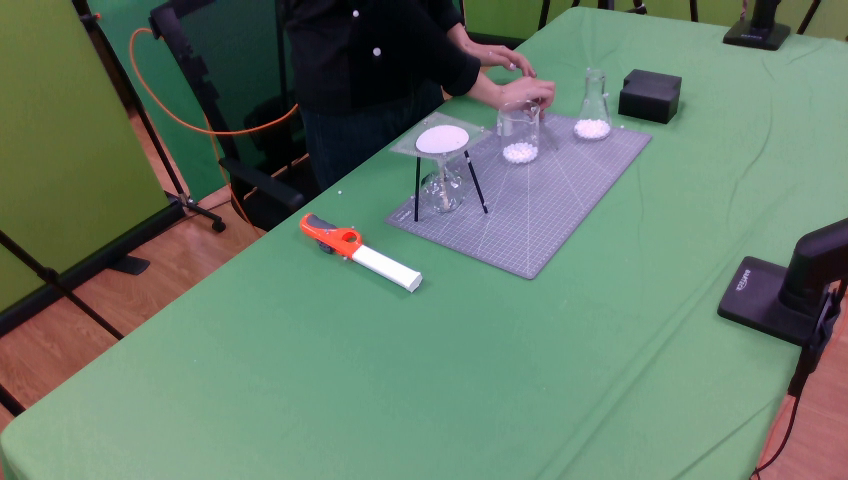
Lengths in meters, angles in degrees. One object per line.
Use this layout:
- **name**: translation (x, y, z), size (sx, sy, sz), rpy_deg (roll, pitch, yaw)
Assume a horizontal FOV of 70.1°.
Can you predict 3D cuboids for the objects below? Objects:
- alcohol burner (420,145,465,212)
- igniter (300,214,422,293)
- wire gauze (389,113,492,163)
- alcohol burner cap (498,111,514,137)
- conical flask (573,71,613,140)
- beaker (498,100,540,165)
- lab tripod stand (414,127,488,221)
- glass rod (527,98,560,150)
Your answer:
- **alcohol burner**: translation (0.031, -0.108, 1.030), size (0.078, 0.119, 0.077), rpy_deg (-5, 38, 4)
- **igniter**: translation (-0.112, 0.016, 0.983), size (0.274, 0.025, 0.057), rpy_deg (26, 62, 35)
- **wire gauze**: translation (0.026, -0.164, 0.977), size (0.120, 0.011, 0.125), rpy_deg (24, 49, 35)
- **alcohol burner cap**: translation (0.163, -0.234, 1.211), size (0.034, 0.048, 0.033), rpy_deg (-6, 40, 6)
- **conical flask**: translation (0.321, -0.256, 1.142), size (0.075, 0.122, 0.075), rpy_deg (-5, 40, 5)
- **beaker**: translation (0.180, -0.196, 1.117), size (0.074, 0.101, 0.083), rpy_deg (-25, 43, -17)
- **lab tripod stand**: translation (0.035, -0.114, 1.021), size (0.148, 0.132, 0.147), rpy_deg (-7, 39, 6)
- **glass rod**: translation (0.240, -0.238, 1.221), size (0.008, 0.008, 0.198), rpy_deg (-12, 43, -2)
